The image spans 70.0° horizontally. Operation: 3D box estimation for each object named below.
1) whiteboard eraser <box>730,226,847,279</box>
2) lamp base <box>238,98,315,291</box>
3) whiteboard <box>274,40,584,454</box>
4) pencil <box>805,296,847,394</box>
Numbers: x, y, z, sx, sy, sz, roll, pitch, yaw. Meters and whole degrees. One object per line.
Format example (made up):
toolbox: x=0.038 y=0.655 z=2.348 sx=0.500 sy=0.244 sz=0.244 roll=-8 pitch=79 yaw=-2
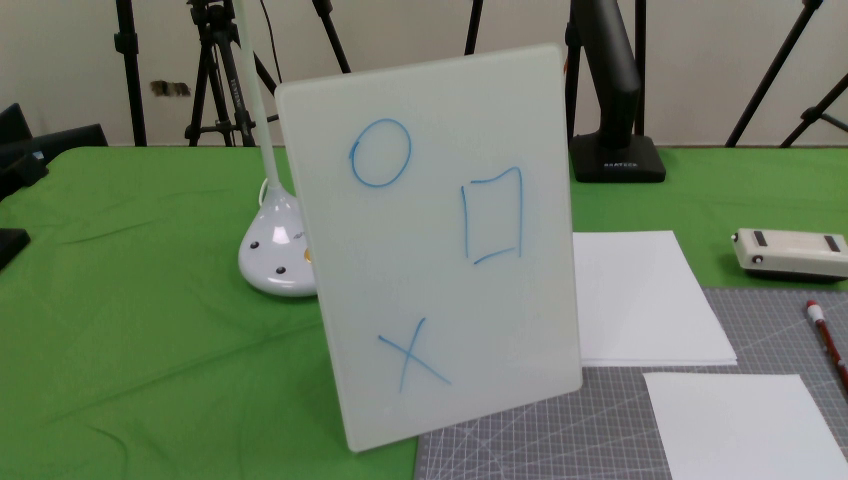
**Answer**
whiteboard eraser: x=0.403 y=0.015 z=0.668 sx=0.112 sy=0.042 sz=0.055 roll=5 pitch=38 yaw=10
lamp base: x=-0.152 y=-0.060 z=0.684 sx=0.161 sy=0.182 sz=0.177 roll=-31 pitch=43 yaw=-32
whiteboard: x=0.006 y=-0.004 z=0.544 sx=0.217 sy=0.307 sz=0.142 roll=-12 pitch=19 yaw=-11
pencil: x=0.381 y=0.121 z=0.550 sx=0.012 sy=0.012 sz=0.192 roll=4 pitch=39 yaw=9
